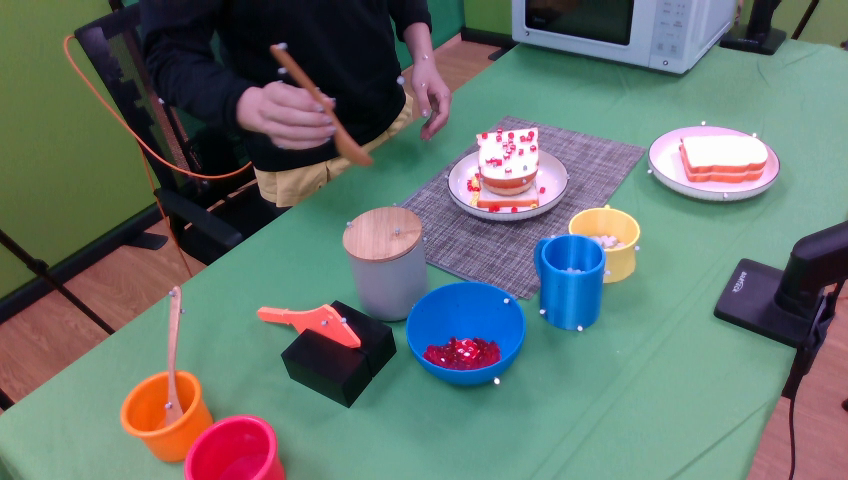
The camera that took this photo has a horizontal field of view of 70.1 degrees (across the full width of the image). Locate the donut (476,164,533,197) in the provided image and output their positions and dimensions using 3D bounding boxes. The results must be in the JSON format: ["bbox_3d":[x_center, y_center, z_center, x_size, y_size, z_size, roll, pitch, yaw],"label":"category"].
[{"bbox_3d":[0.138,-0.116,1.025,0.099,0.048,0.098,-8,55,13],"label":"donut"}]

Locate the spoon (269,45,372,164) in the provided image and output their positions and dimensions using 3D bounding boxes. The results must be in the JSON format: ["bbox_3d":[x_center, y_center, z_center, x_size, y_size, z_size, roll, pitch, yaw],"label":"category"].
[{"bbox_3d":[-0.117,-0.149,0.695,0.041,0.195,0.021,9,59,36],"label":"spoon"}]

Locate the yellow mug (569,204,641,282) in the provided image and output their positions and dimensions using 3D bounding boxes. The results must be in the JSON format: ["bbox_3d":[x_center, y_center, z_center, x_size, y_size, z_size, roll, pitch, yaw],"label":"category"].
[{"bbox_3d":[0.268,-0.005,0.904,0.099,0.064,0.130,7,41,15],"label":"yellow mug"}]

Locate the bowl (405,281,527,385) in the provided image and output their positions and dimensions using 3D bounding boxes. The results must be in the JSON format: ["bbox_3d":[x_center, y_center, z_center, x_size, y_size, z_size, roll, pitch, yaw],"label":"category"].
[{"bbox_3d":[0.055,0.131,0.767,0.151,0.077,0.150,-4,40,4],"label":"bowl"}]

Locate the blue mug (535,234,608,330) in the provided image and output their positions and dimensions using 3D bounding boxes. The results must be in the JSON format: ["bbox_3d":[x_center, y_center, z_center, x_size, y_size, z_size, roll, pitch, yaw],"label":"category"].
[{"bbox_3d":[0.191,0.048,0.824,0.082,0.106,0.115,-26,44,-21],"label":"blue mug"}]

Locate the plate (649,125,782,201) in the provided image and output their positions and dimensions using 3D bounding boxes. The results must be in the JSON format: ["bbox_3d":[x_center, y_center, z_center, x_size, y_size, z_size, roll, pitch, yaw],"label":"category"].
[{"bbox_3d":[0.493,-0.128,1.036,0.207,0.039,0.206,-4,41,4],"label":"plate"}]

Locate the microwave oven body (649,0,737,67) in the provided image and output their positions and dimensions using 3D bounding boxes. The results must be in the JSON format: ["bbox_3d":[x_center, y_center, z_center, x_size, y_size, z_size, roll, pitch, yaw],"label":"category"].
[{"bbox_3d":[0.475,-0.602,1.411,0.438,0.261,0.327,23,50,32],"label":"microwave oven body"}]

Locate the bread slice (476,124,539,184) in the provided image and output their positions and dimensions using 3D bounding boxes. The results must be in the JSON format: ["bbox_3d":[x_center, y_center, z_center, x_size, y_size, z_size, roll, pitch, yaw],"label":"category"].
[{"bbox_3d":[0.143,-0.144,1.009,0.107,0.018,0.133,-7,46,7],"label":"bread slice"}]

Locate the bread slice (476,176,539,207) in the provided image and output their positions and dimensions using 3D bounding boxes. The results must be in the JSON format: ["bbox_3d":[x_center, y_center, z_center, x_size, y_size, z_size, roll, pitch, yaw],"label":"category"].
[{"bbox_3d":[0.144,-0.103,1.059,0.105,0.019,0.131,-1,44,5],"label":"bread slice"}]

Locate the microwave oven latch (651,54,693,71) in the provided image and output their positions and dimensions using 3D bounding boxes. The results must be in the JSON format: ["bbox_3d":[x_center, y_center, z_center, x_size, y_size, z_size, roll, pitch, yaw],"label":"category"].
[{"bbox_3d":[0.532,-0.386,1.301,0.078,0.029,0.030,27,52,34],"label":"microwave oven latch"}]

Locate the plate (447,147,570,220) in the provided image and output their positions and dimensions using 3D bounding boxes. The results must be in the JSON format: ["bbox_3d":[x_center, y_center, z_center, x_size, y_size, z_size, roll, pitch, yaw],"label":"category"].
[{"bbox_3d":[0.145,-0.098,1.046,0.209,0.038,0.208,-4,40,4],"label":"plate"}]

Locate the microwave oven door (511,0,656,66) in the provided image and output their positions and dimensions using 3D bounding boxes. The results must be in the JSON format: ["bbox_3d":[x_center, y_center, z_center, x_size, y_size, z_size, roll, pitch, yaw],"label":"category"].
[{"bbox_3d":[0.351,-0.539,1.349,0.353,0.245,0.039,24,50,31],"label":"microwave oven door"}]

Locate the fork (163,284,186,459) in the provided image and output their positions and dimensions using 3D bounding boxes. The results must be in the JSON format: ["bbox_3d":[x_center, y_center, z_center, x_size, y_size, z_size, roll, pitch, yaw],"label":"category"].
[{"bbox_3d":[-0.302,0.157,0.733,0.028,0.019,0.207,-3,84,14],"label":"fork"}]

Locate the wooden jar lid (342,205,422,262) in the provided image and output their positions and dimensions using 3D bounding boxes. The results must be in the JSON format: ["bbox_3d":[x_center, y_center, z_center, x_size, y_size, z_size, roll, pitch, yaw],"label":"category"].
[{"bbox_3d":[-0.055,-0.006,0.808,0.108,0.021,0.108,-6,40,6],"label":"wooden jar lid"}]

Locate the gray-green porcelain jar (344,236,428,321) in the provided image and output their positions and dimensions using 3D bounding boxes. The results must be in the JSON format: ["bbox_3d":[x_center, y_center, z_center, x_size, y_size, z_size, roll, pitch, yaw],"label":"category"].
[{"bbox_3d":[-0.049,0.042,0.849,0.106,0.127,0.105,-4,41,4],"label":"gray-green porcelain jar"}]

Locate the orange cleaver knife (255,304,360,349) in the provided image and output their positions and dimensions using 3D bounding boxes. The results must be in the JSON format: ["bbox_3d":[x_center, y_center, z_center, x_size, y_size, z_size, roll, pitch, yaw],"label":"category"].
[{"bbox_3d":[-0.161,0.115,0.813,0.210,0.077,0.012,-4,32,47],"label":"orange cleaver knife"}]
